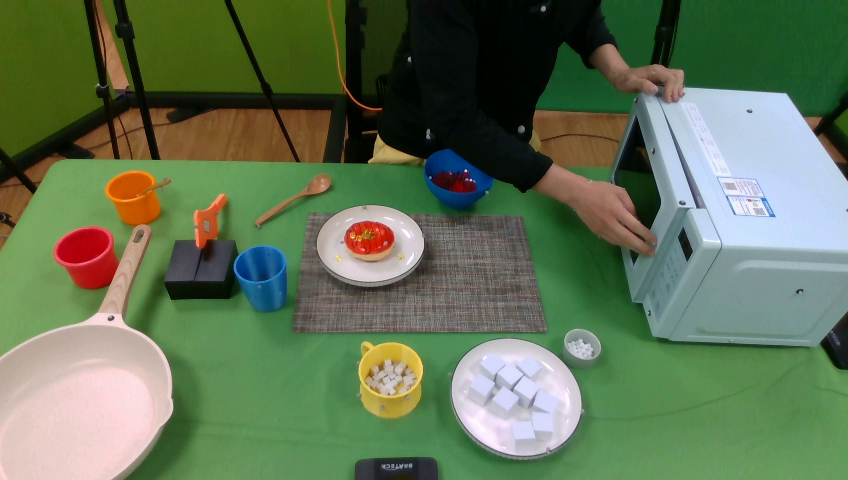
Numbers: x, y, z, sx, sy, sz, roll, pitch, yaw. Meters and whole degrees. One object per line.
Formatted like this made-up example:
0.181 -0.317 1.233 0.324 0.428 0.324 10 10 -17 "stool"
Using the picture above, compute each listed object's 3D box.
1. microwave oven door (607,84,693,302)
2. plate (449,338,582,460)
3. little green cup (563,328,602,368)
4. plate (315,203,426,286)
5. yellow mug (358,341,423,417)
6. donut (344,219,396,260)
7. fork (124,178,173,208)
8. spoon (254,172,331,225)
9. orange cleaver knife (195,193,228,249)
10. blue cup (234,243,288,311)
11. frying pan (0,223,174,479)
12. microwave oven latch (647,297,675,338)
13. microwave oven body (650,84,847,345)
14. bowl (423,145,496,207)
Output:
0.415 -0.096 1.138 0.039 0.245 0.353 5 46 1 "microwave oven door"
0.141 0.251 0.955 0.208 0.039 0.206 2 46 -2 "plate"
0.266 0.185 1.025 0.061 0.039 0.061 3 44 -2 "little green cup"
-0.101 0.012 1.159 0.209 0.038 0.208 2 46 -2 "plate"
-0.062 0.209 0.961 0.100 0.064 0.130 -29 54 -27 "yellow mug"
-0.103 -0.003 1.157 0.099 0.048 0.098 3 43 -3 "donut"
-0.525 -0.090 1.154 0.207 0.019 0.028 -17 27 45 "fork"
-0.272 -0.087 1.257 0.193 0.022 0.041 -37 78 -32 "spoon"
-0.406 -0.041 1.163 0.012 0.077 0.210 -1 18 -3 "orange cleaver knife"
-0.276 0.072 1.052 0.093 0.101 0.092 1 48 -1 "blue cup"
-0.505 0.169 0.941 0.307 0.103 0.485 5 54 -1 "frying pan"
0.413 0.133 1.060 0.030 0.029 0.078 5 46 2 "microwave oven latch"
0.568 -0.054 1.116 0.326 0.261 0.439 2 46 -1 "microwave oven body"
0.073 -0.123 1.277 0.151 0.077 0.150 2 46 -2 "bowl"
